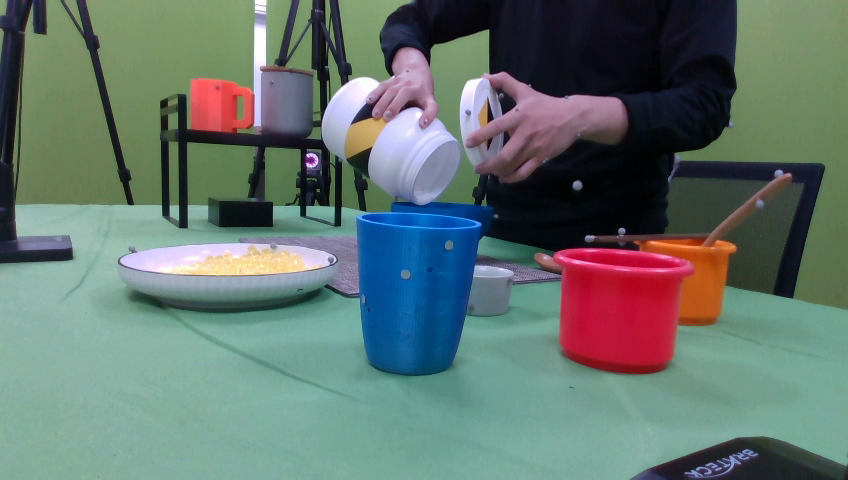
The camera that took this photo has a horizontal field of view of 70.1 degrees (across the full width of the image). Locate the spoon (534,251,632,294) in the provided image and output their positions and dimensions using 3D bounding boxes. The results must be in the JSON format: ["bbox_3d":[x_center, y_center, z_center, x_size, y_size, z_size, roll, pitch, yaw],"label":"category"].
[{"bbox_3d":[0.193,0.038,0.753,0.042,0.021,0.193,14,2,-21],"label":"spoon"}]

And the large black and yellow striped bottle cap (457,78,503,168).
[{"bbox_3d":[0.075,-0.151,0.783,0.018,0.115,0.115,-3,4,28],"label":"large black and yellow striped bottle cap"}]

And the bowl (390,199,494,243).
[{"bbox_3d":[0.023,-0.015,0.872,0.151,0.077,0.151,3,7,0],"label":"bowl"}]

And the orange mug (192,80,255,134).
[{"bbox_3d":[-0.389,-0.257,1.172,0.126,0.100,0.083,-1,6,9],"label":"orange mug"}]

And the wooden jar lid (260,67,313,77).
[{"bbox_3d":[-0.283,-0.339,1.244,0.108,0.020,0.108,5,9,0],"label":"wooden jar lid"}]

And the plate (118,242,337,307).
[{"bbox_3d":[-0.194,0.033,0.615,0.209,0.038,0.209,2,7,0],"label":"plate"}]

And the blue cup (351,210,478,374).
[{"bbox_3d":[-0.009,0.034,0.414,0.093,0.100,0.092,4,8,0],"label":"blue cup"}]

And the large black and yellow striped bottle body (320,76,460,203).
[{"bbox_3d":[-0.049,-0.147,0.900,0.183,0.130,0.131,37,23,23],"label":"large black and yellow striped bottle body"}]

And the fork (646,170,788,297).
[{"bbox_3d":[0.256,0.004,0.543,0.028,0.018,0.207,3,-36,-10],"label":"fork"}]

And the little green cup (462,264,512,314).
[{"bbox_3d":[0.053,0.047,0.580,0.061,0.038,0.061,3,8,0],"label":"little green cup"}]

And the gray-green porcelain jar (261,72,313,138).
[{"bbox_3d":[-0.284,-0.277,1.253,0.106,0.126,0.106,2,8,0],"label":"gray-green porcelain jar"}]

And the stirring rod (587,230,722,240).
[{"bbox_3d":[0.227,-0.005,0.585,0.177,0.006,0.014,-2,7,-28],"label":"stirring rod"}]
